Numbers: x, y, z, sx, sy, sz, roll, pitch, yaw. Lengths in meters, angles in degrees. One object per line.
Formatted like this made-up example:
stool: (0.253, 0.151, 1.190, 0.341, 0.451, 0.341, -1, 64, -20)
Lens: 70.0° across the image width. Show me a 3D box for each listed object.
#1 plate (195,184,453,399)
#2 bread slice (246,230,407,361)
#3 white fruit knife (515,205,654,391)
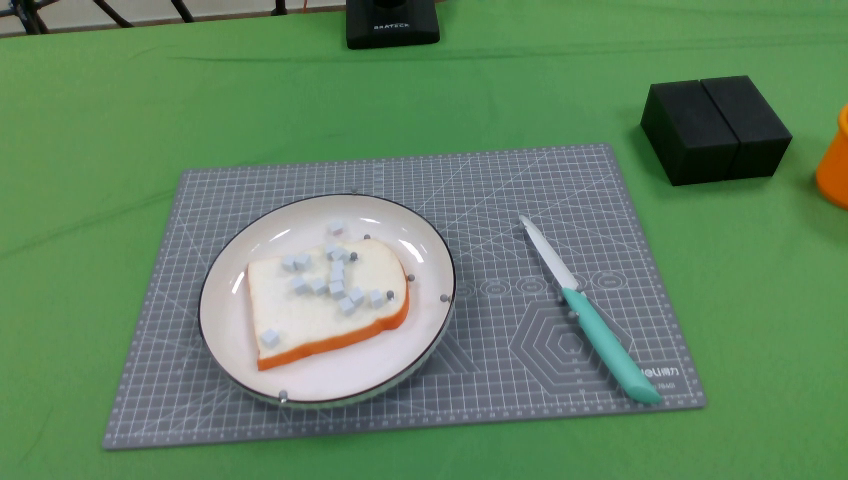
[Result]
plate: (-0.080, 0.039, 0.503, 0.209, 0.038, 0.207, -1, 51, 1)
bread slice: (-0.082, 0.036, 0.508, 0.132, 0.019, 0.103, -16, 52, -10)
white fruit knife: (0.124, 0.039, 0.510, 0.027, 0.016, 0.205, 5, 41, -33)
